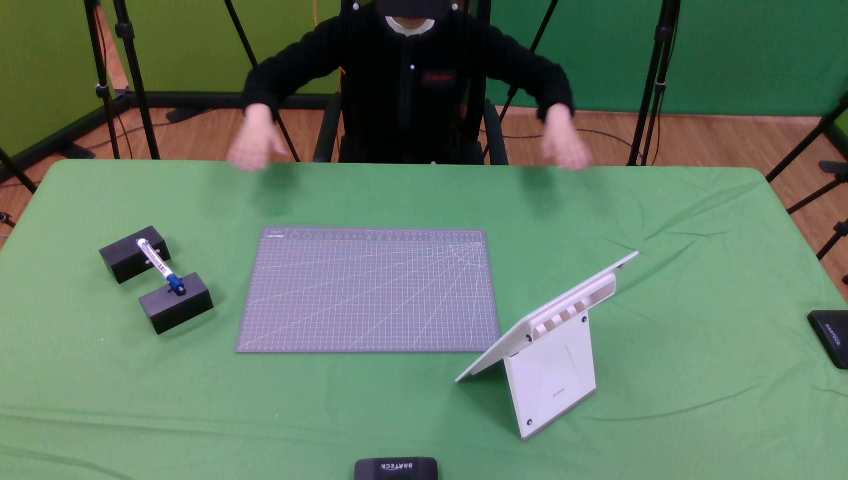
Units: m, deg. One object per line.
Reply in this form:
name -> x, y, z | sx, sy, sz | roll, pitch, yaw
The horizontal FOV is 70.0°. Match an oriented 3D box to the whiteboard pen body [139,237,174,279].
whiteboard pen body -> -0.462, 0.038, 1.059 | 0.017, 0.017, 0.140 | -32, 56, -30

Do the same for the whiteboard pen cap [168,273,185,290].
whiteboard pen cap -> -0.422, 0.070, 1.032 | 0.018, 0.018, 0.033 | -34, 54, -30

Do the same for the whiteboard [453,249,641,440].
whiteboard -> 0.206, 0.174, 0.890 | 0.217, 0.306, 0.143 | -24, 72, -25
